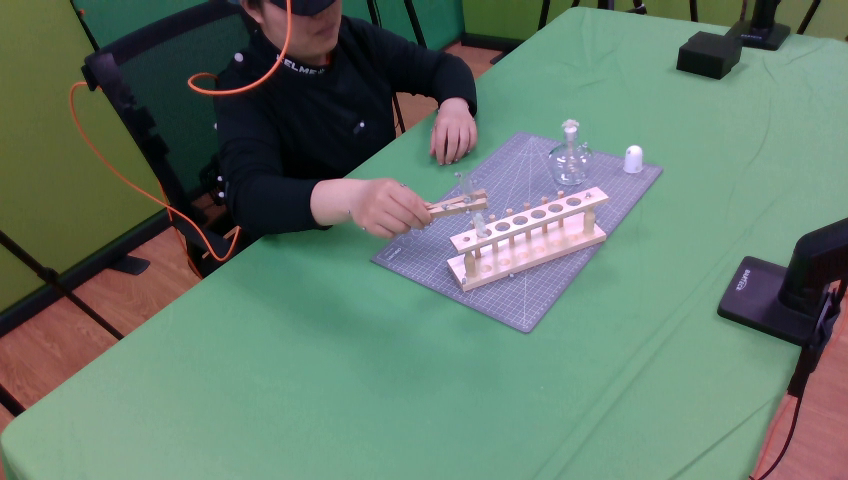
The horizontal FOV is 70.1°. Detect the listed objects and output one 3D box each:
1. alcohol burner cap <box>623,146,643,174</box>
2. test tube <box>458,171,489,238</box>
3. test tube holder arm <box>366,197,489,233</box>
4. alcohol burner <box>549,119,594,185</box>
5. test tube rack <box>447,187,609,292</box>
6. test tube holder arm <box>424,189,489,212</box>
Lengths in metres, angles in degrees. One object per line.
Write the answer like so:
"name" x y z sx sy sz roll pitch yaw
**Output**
"alcohol burner cap" 0.369 -0.143 1.061 0.034 0.048 0.033 -7 41 6
"test tube" 0.069 -0.040 0.813 0.017 0.151 0.017 -9 54 12
"test tube holder arm" 0.002 -0.033 0.818 0.178 0.015 0.013 -13 47 19
"alcohol burner" 0.254 -0.155 1.043 0.078 0.120 0.077 -7 40 6
"test tube rack" 0.155 -0.011 0.913 0.243 0.085 0.066 -19 41 -11
"test tube holder arm" 0.043 -0.048 0.808 0.087 0.015 0.010 -18 46 14
